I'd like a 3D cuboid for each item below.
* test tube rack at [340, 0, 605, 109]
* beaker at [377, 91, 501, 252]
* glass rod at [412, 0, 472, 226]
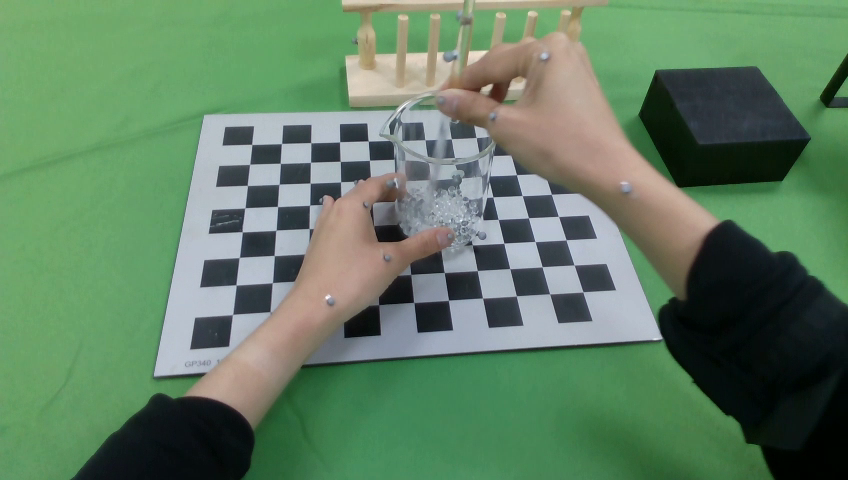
[{"bbox_3d":[0.045,-0.184,0.574,0.243,0.086,0.066,-4,51,-7],"label":"test tube rack"},{"bbox_3d":[0.009,-0.045,0.443,0.084,0.101,0.073,-2,50,-4],"label":"beaker"},{"bbox_3d":[0.009,-0.076,0.393,0.008,0.201,0.008,6,50,-7],"label":"glass rod"}]
